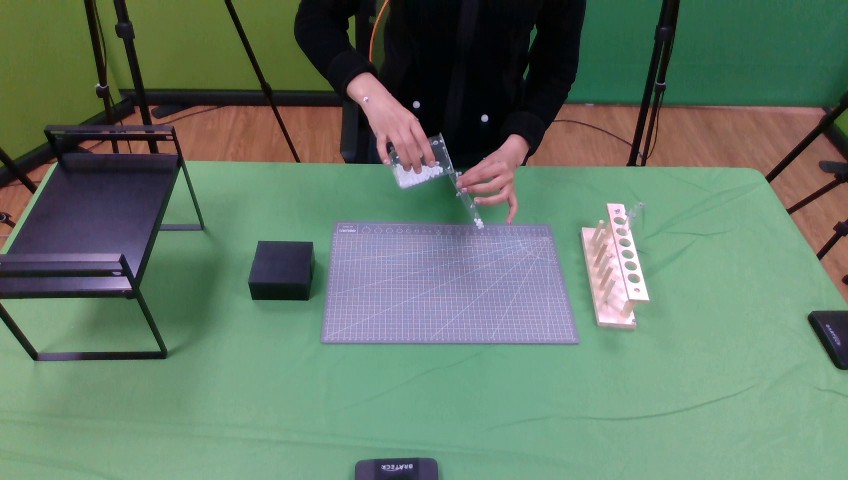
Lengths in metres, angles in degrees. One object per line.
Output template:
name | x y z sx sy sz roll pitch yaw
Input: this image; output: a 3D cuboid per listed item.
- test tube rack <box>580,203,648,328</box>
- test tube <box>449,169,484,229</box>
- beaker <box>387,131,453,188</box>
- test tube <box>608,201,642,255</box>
test tube rack | 0.352 0.041 1.142 0.067 0.085 0.241 4 46 -1
test tube | 0.080 -0.073 1.118 0.017 0.151 0.017 -18 41 17
beaker | -0.007 -0.134 1.047 0.100 0.084 0.073 -18 43 6
test tube | 0.373 -0.019 1.133 0.017 0.151 0.017 3 52 -4
